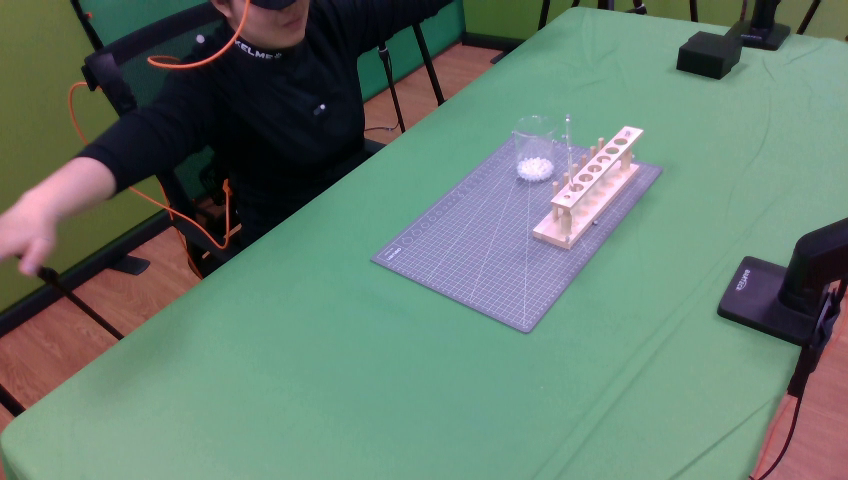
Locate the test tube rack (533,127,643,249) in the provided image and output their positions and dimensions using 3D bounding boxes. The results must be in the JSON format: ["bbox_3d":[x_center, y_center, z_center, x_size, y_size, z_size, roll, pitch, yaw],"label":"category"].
[{"bbox_3d":[0.271,-0.095,0.990,0.066,0.085,0.243,23,50,33],"label":"test tube rack"}]

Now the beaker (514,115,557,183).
[{"bbox_3d":[0.199,-0.161,1.071,0.073,0.101,0.084,8,42,19],"label":"beaker"}]

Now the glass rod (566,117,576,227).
[{"bbox_3d":[0.217,-0.094,0.895,0.008,0.201,0.008,-8,41,8],"label":"glass rod"}]
